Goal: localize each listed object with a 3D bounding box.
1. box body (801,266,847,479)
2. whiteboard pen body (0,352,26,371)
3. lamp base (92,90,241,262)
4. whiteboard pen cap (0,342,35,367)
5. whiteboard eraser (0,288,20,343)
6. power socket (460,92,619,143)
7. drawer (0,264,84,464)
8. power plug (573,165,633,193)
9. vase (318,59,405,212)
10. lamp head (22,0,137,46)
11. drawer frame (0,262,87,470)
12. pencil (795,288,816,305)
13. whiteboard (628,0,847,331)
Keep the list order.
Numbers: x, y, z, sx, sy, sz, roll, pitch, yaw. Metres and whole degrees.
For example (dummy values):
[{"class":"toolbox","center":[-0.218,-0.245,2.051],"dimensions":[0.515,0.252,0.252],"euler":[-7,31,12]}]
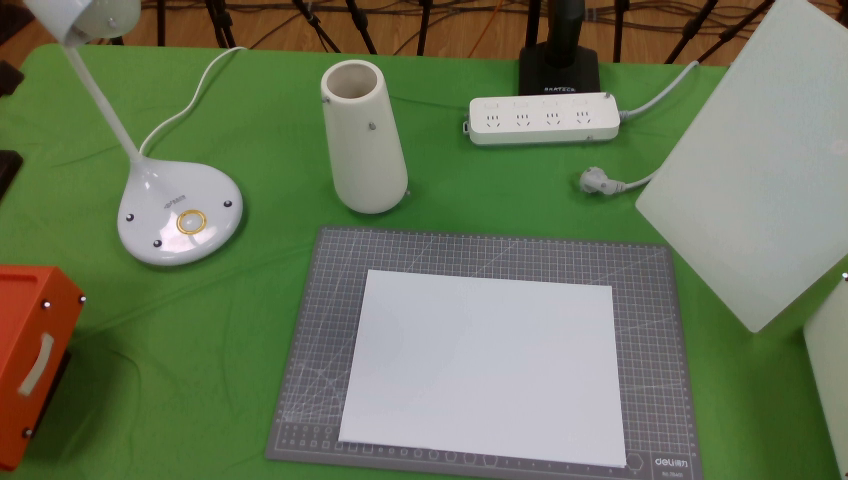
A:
[{"class":"box body","center":[0.529,0.192,0.540],"dimensions":[0.254,0.162,0.361],"euler":[2,57,4]},{"class":"whiteboard pen body","center":[-0.486,0.145,0.624],"dimensions":[0.141,0.017,0.017],"euler":[-21,58,-15]},{"class":"lamp base","center":[-0.336,-0.088,0.741],"dimensions":[0.178,0.182,0.160],"euler":[32,63,24]},{"class":"whiteboard pen cap","center":[-0.434,0.122,0.642],"dimensions":[0.033,0.018,0.018],"euler":[-23,59,-16]},{"class":"whiteboard eraser","center":[-0.498,0.099,0.678],"dimensions":[0.112,0.042,0.055],"euler":[-27,65,21]},{"class":"power socket","center":[0.166,-0.176,0.867],"dimensions":[0.227,0.033,0.071],"euler":[-1,58,1]},{"class":"drawer","center":[-0.494,0.118,0.621],"dimensions":[0.212,0.074,0.193],"euler":[2,58,3]},{"class":"power plug","center":[0.235,-0.078,0.813],"dimensions":[0.073,0.035,0.052],"euler":[16,20,-34]},{"class":"vase","center":[-0.078,-0.122,0.743],"dimensions":[0.098,0.202,0.097],"euler":[-2,57,3]},{"class":"lamp head","center":[-0.299,-0.238,0.492],"dimensions":[0.123,0.112,0.112],"euler":[44,62,-16]},{"class":"drawer frame","center":[-0.500,0.122,0.623],"dimensions":[0.213,0.083,0.200],"euler":[2,58,2]},{"class":"pencil","center":[0.483,0.101,0.692],"dimensions":[0.012,0.012,0.192],"euler":[-31,58,-17]},{"class":"whiteboard","center":[0.417,-0.083,0.673],"dimensions":[0.144,0.307,0.215],"euler":[-14,55,-29]}]
